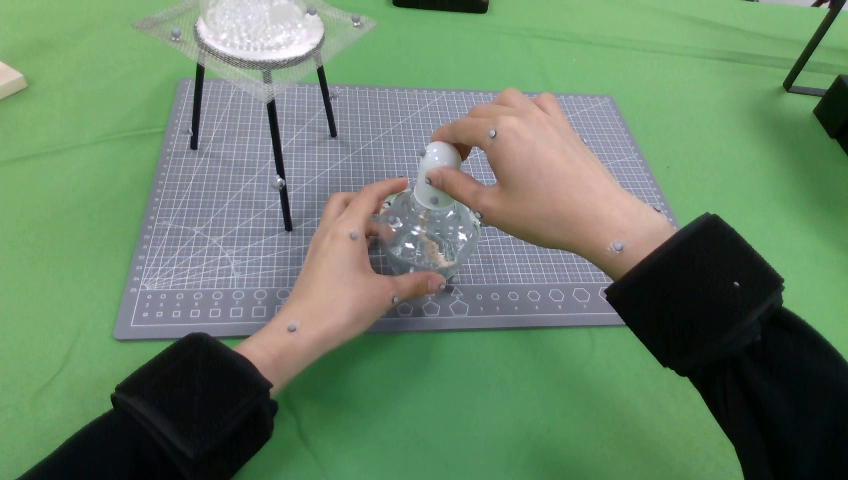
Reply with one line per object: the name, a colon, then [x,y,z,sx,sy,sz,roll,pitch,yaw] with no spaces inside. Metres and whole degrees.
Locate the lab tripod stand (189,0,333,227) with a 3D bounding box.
lab tripod stand: [-0.123,-0.105,0.474,0.149,0.132,0.147,6,49,-7]

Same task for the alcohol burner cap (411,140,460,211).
alcohol burner cap: [0.009,-0.045,0.409,0.034,0.048,0.033,3,52,-4]

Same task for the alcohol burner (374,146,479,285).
alcohol burner: [0.004,-0.023,0.437,0.078,0.120,0.077,6,47,-6]

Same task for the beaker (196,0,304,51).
beaker: [-0.115,-0.180,0.388,0.073,0.101,0.084,31,52,16]

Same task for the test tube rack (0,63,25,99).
test tube rack: [-0.452,-0.113,0.460,0.066,0.086,0.241,30,51,16]

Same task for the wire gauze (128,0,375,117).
wire gauze: [-0.117,-0.148,0.425,0.124,0.011,0.121,32,54,13]
